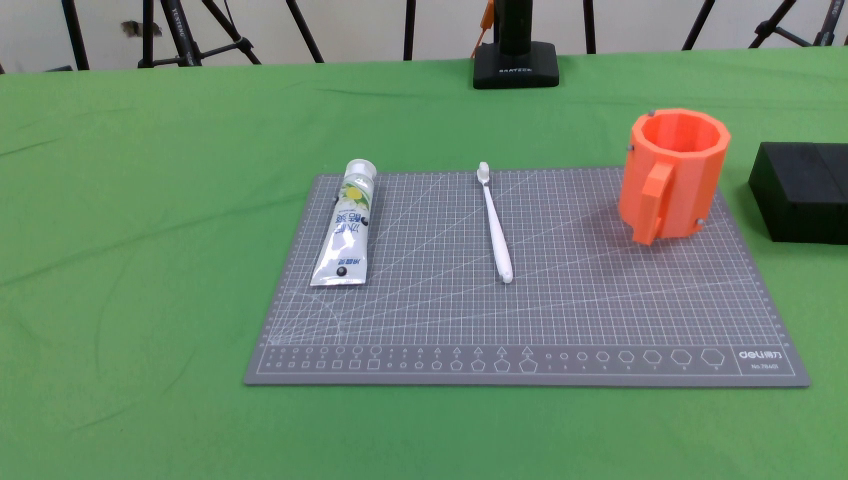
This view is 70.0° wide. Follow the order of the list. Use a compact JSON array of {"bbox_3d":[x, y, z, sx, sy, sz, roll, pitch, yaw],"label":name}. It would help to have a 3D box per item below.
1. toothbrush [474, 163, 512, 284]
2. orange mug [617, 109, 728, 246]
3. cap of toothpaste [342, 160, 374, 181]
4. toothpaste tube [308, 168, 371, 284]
[{"bbox_3d":[0.071,-0.023,0.626,0.014,0.017,0.180,6,42,-11],"label":"toothbrush"},{"bbox_3d":[0.230,-0.055,0.582,0.083,0.102,0.126,19,43,26],"label":"orange mug"},{"bbox_3d":[-0.075,-0.075,0.683,0.037,0.038,0.011,-1,46,5],"label":"cap of toothpaste"},{"bbox_3d":[-0.081,-0.018,0.630,0.055,0.035,0.163,-6,45,9],"label":"toothpaste tube"}]
